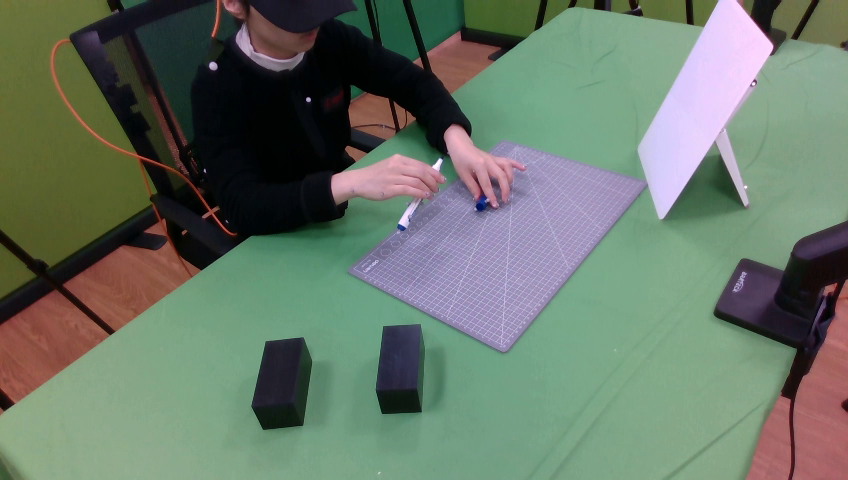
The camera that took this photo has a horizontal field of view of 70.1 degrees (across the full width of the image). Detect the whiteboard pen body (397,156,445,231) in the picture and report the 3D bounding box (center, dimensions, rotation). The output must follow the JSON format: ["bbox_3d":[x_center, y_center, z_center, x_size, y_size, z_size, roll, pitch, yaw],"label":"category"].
[{"bbox_3d":[-0.003,-0.075,0.953,0.017,0.017,0.140,25,79,32],"label":"whiteboard pen body"}]

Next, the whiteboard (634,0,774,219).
[{"bbox_3d":[0.485,-0.192,0.957,0.144,0.305,0.216,14,41,-4],"label":"whiteboard"}]

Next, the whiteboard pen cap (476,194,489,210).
[{"bbox_3d":[0.100,-0.064,1.030,0.018,0.018,0.033,7,37,17],"label":"whiteboard pen cap"}]
